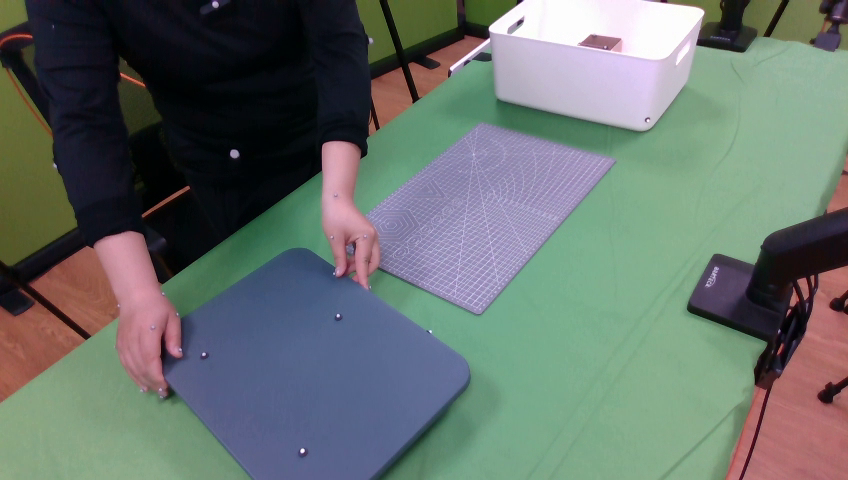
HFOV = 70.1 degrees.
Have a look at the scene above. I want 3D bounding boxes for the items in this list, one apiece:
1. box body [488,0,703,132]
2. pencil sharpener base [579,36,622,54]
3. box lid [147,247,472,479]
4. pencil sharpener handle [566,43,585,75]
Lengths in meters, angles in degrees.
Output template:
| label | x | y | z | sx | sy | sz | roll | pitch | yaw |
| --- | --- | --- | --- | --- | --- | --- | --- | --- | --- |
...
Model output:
| label | x | y | z | sx | sy | sz | roll | pitch | yaw |
| --- | --- | --- | --- | --- | --- | --- | --- | --- | --- |
| box body | 0.346 | -0.374 | 1.251 | 0.361 | 0.161 | 0.255 | 21 | 48 | 29 |
| pencil sharpener base | 0.364 | -0.363 | 1.267 | 0.076 | 0.107 | 0.061 | 20 | 48 | 30 |
| box lid | -0.150 | 0.151 | 0.753 | 0.368 | 0.015 | 0.264 | 30 | 54 | 34 |
| pencil sharpener handle | 0.319 | -0.386 | 1.283 | 0.030 | 0.068 | 0.036 | 20 | 40 | 30 |
